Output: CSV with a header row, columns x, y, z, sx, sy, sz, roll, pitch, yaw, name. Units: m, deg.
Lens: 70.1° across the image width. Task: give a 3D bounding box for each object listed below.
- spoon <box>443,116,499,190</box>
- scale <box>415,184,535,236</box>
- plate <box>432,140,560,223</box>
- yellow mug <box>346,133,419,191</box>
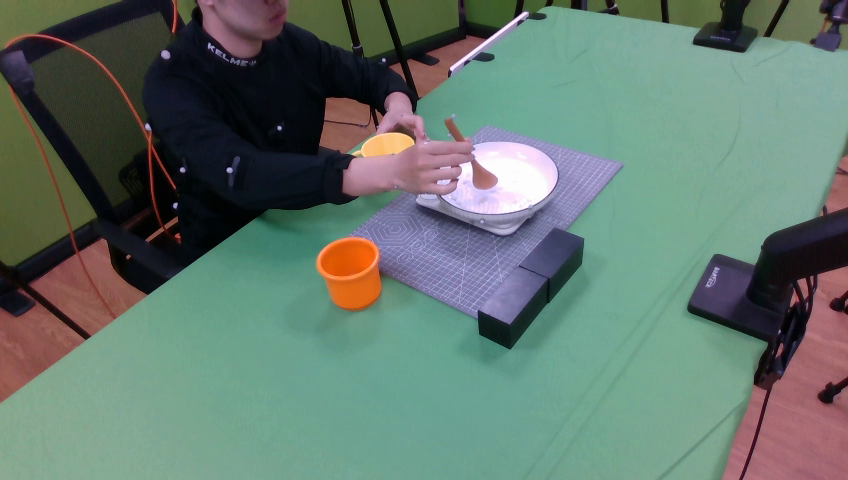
x,y,z,sx,sy,sz,roll,pitch,yaw,name
0.068,-0.127,0.909,0.041,0.195,0.021,-19,54,18,spoon
0.099,-0.079,1.035,0.199,0.032,0.149,23,48,31,scale
0.118,-0.094,0.999,0.209,0.038,0.208,-5,41,4,plate
-0.079,-0.142,1.115,0.131,0.064,0.099,-7,39,3,yellow mug
